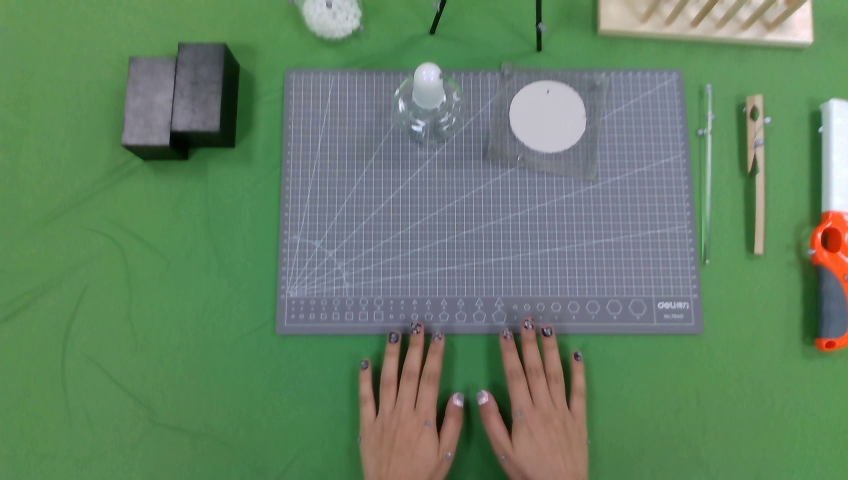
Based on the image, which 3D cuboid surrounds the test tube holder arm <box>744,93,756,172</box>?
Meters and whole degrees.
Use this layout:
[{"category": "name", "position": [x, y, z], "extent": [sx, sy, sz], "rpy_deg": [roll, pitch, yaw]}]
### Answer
[{"category": "test tube holder arm", "position": [0.362, -0.119, 0.671], "extent": [0.010, 0.015, 0.087], "rpy_deg": [-3, 79, 35]}]

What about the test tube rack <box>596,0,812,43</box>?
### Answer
[{"category": "test tube rack", "position": [0.320, -0.273, 0.661], "extent": [0.242, 0.085, 0.066], "rpy_deg": [4, 80, 0]}]

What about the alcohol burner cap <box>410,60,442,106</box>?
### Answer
[{"category": "alcohol burner cap", "position": [0.002, -0.155, 0.586], "extent": [0.034, 0.048, 0.033], "rpy_deg": [0, 74, -1]}]

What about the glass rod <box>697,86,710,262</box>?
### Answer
[{"category": "glass rod", "position": [0.308, -0.074, 0.667], "extent": [0.008, 0.008, 0.199], "rpy_deg": [5, 83, 0]}]

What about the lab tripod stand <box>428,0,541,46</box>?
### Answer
[{"category": "lab tripod stand", "position": [0.074, -0.276, 0.636], "extent": [0.148, 0.132, 0.148], "rpy_deg": [0, 82, 0]}]

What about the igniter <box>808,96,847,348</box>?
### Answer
[{"category": "igniter", "position": [0.439, -0.021, 0.650], "extent": [0.057, 0.025, 0.275], "rpy_deg": [9, 81, -9]}]

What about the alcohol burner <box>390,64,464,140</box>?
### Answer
[{"category": "alcohol burner", "position": [0.003, -0.147, 0.621], "extent": [0.078, 0.119, 0.077], "rpy_deg": [0, 80, 2]}]

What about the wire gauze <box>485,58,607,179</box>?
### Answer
[{"category": "wire gauze", "position": [0.137, -0.138, 0.674], "extent": [0.125, 0.011, 0.121], "rpy_deg": [11, 82, 1]}]

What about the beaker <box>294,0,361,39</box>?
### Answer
[{"category": "beaker", "position": [-0.109, -0.270, 0.651], "extent": [0.084, 0.100, 0.073], "rpy_deg": [-8, 80, -1]}]

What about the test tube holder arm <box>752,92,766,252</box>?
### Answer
[{"category": "test tube holder arm", "position": [0.365, -0.075, 0.661], "extent": [0.013, 0.015, 0.177], "rpy_deg": [-5, 78, 35]}]
